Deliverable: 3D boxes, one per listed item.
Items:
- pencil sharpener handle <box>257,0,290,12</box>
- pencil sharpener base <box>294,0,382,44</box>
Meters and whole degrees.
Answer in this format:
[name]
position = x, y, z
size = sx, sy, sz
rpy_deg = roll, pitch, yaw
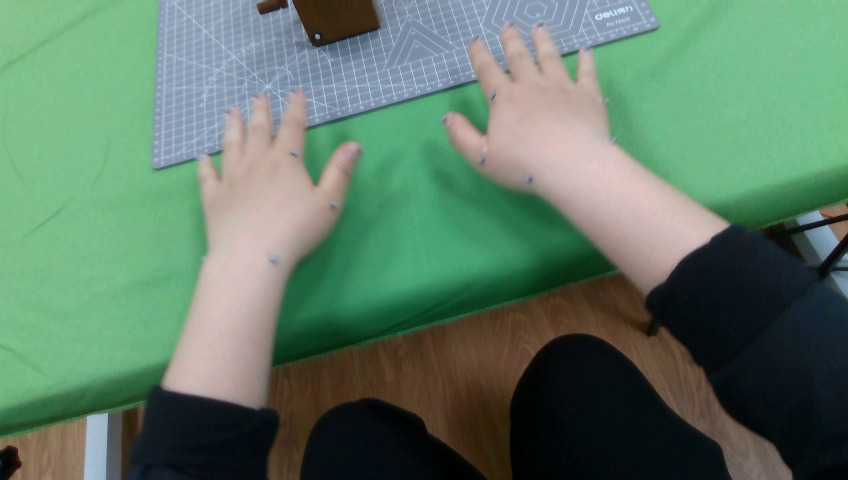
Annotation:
[pencil sharpener handle]
position = -0.140, -0.229, 0.524
size = 0.030, 0.068, 0.035
rpy_deg = -17, 59, 2
[pencil sharpener base]
position = -0.088, -0.238, 0.533
size = 0.077, 0.108, 0.061
rpy_deg = -17, 60, 2
